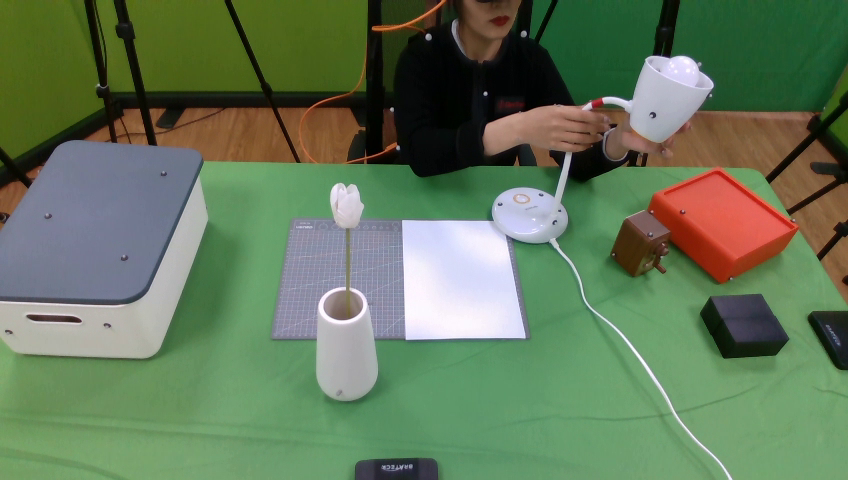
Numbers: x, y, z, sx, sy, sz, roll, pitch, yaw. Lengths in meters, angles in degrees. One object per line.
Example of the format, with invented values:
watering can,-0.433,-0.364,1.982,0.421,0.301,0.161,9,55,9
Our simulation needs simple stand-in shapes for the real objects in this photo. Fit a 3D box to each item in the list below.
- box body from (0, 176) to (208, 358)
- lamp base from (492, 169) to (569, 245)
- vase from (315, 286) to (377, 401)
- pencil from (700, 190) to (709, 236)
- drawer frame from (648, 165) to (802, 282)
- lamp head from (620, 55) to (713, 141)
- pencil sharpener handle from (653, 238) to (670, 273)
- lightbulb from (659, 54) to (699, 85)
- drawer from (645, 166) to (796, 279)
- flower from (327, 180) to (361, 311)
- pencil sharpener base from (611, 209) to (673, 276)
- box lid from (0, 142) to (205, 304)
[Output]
box body,-0.546,0.017,1.045,0.254,0.161,0.361,2,46,-2
lamp base,0.234,-0.100,1.199,0.161,0.181,0.178,-23,55,-25
vase,-0.119,0.159,0.911,0.098,0.201,0.097,2,47,-2
pencil,0.583,-0.058,1.257,0.012,0.012,0.193,16,35,12
drawer frame,0.603,-0.041,1.234,0.202,0.083,0.212,-21,51,-23
lamp head,0.380,-0.224,0.977,0.112,0.123,0.111,14,39,-12
pencil sharpener handle,0.444,0.030,1.120,0.036,0.068,0.030,-25,52,-18
lightbulb,0.393,-0.241,0.964,0.059,0.108,0.059,14,29,-8
drawer,0.600,-0.040,1.236,0.195,0.073,0.210,-21,52,-23
flower,-0.110,0.086,0.867,0.044,0.363,0.038,22,33,35
pencil sharpener base,0.416,0.007,1.158,0.061,0.107,0.076,-21,51,-22
box lid,-0.533,-0.044,0.995,0.263,0.015,0.369,3,45,-3
